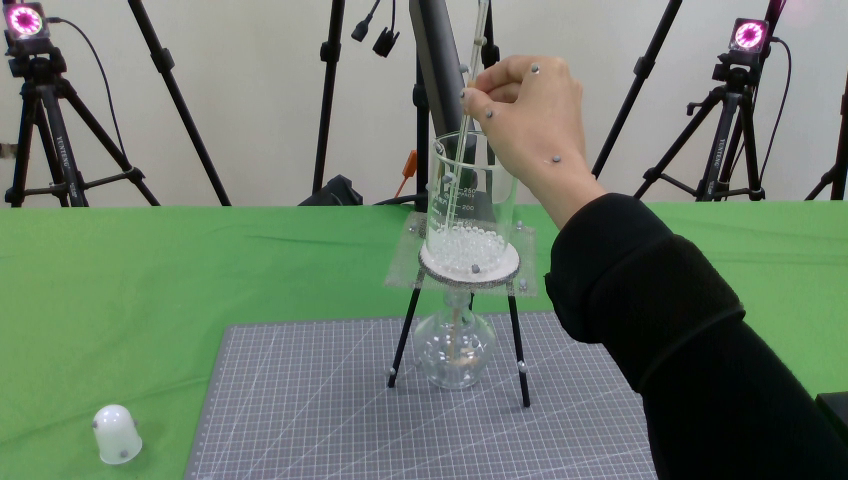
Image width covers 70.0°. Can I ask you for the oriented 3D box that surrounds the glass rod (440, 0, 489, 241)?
[{"bbox_3d":[0.029,-0.083,0.466,0.008,0.201,0.008,6,34,-4],"label":"glass rod"}]

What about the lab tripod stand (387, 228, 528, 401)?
[{"bbox_3d":[0.040,0.067,0.554,0.148,0.132,0.147,4,30,-2],"label":"lab tripod stand"}]

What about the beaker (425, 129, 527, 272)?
[{"bbox_3d":[0.036,-0.032,0.496,0.083,0.101,0.074,28,38,34],"label":"beaker"}]

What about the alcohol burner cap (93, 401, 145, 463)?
[{"bbox_3d":[-0.247,0.151,0.487,0.034,0.048,0.033,1,31,0],"label":"alcohol burner cap"}]

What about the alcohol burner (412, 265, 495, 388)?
[{"bbox_3d":[0.028,0.076,0.557,0.078,0.120,0.077,1,29,0],"label":"alcohol burner"}]

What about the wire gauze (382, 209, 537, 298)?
[{"bbox_3d":[0.036,0.010,0.520,0.121,0.011,0.124,6,33,6],"label":"wire gauze"}]
